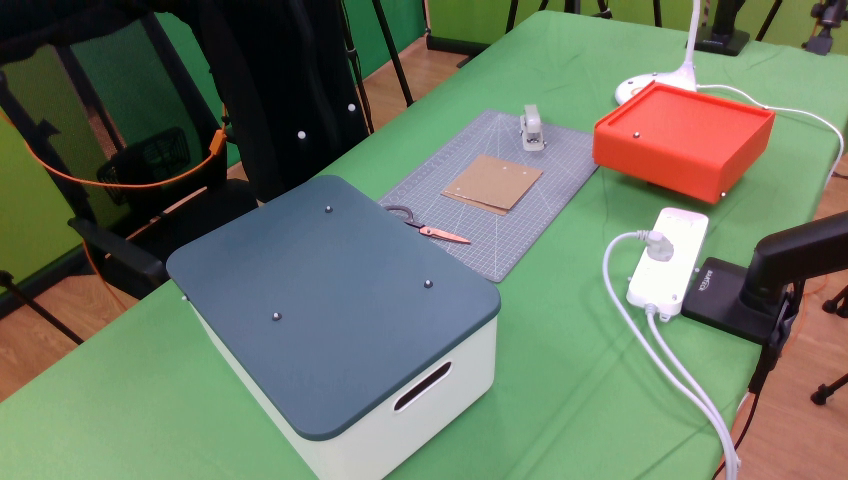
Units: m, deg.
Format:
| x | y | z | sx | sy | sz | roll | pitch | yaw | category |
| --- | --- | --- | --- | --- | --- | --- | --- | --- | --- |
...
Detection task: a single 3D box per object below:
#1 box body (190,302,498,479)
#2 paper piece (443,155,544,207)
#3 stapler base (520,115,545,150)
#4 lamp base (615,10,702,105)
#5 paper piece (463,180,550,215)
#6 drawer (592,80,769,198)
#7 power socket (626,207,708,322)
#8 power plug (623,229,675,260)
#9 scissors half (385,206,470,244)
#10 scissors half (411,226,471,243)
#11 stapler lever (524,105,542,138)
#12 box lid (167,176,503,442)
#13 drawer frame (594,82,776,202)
| x | y | z | sx | sy | sz | roll | pitch | yaw | category |
| --- | --- | --- | --- | --- | --- | --- | --- | --- | --- |
| -0.110 | 0.103 | 0.761 | 0.255 | 0.161 | 0.361 | -33 | 46 | -27 | box body |
| 0.127 | -0.109 | 1.091 | 0.137 | 0.009 | 0.136 | 19 | 42 | 30 | paper piece |
| 0.215 | -0.222 | 1.201 | 0.041 | 0.024 | 0.130 | 0 | 39 | 4 | stapler base |
| 0.484 | -0.364 | 1.211 | 0.180 | 0.181 | 0.159 | -15 | 41 | -14 | lamp base |
| 0.134 | -0.096 | 1.092 | 0.136 | 0.004 | 0.134 | -29 | 43 | -34 | paper piece |
| 0.422 | -0.174 | 1.007 | 0.210 | 0.073 | 0.195 | 30 | 52 | 35 | drawer |
| 0.360 | 0.026 | 0.886 | 0.072 | 0.033 | 0.227 | 16 | 46 | 26 | power socket |
| 0.327 | 0.007 | 0.878 | 0.072 | 0.053 | 0.035 | 25 | 51 | 33 | power plug |
| 0.001 | -0.024 | 1.005 | 0.174 | 0.013 | 0.040 | 22 | 57 | 26 | scissors half |
| -0.007 | -0.010 | 0.993 | 0.174 | 0.013 | 0.040 | 8 | 46 | 15 | scissors half |
| 0.213 | -0.242 | 1.186 | 0.027 | 0.040 | 0.117 | 0 | 40 | 4 | stapler lever |
| -0.119 | 0.047 | 0.714 | 0.264 | 0.015 | 0.368 | -32 | 47 | -27 | box lid |
| 0.428 | -0.171 | 1.006 | 0.211 | 0.083 | 0.202 | 29 | 51 | 36 | drawer frame |
